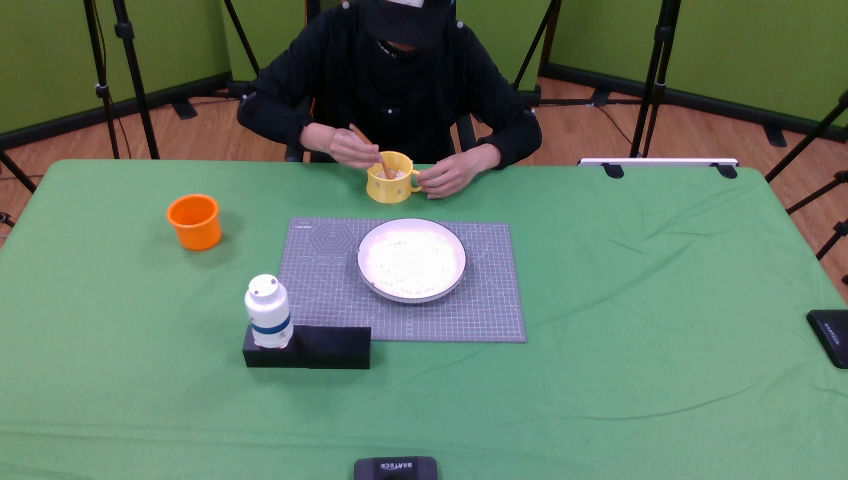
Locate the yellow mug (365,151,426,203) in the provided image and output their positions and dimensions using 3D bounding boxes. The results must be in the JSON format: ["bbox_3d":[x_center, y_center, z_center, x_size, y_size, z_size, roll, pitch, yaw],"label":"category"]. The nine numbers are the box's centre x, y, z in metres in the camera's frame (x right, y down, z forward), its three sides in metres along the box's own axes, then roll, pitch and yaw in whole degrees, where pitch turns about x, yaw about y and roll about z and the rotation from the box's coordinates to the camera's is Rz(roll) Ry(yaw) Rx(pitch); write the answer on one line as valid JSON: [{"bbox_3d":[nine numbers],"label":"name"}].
[{"bbox_3d":[-0.060,-0.133,1.291,0.131,0.064,0.099,8,46,3],"label":"yellow mug"}]

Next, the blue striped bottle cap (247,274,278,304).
[{"bbox_3d":[-0.239,0.072,0.900,0.044,0.021,0.044,4,46,-4],"label":"blue striped bottle cap"}]

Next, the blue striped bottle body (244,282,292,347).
[{"bbox_3d":[-0.241,0.108,0.937,0.063,0.121,0.062,2,46,-2],"label":"blue striped bottle body"}]

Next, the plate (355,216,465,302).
[{"bbox_3d":[-0.027,0.039,1.144,0.208,0.039,0.206,2,46,-2],"label":"plate"}]

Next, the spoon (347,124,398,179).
[{"bbox_3d":[-0.098,-0.171,1.250,0.021,0.195,0.041,-24,42,17],"label":"spoon"}]
